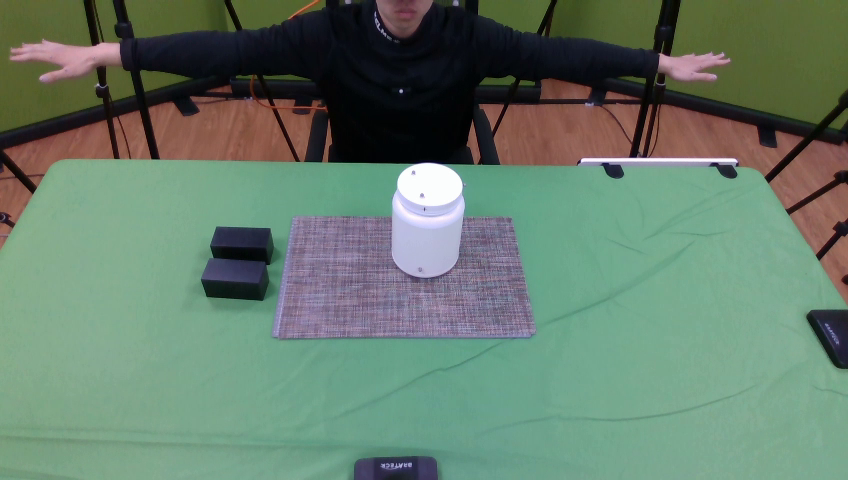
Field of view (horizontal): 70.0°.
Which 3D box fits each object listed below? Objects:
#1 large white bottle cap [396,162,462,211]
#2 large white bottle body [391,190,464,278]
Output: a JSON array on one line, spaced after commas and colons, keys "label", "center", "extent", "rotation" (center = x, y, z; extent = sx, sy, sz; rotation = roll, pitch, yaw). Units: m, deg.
[{"label": "large white bottle cap", "center": [0.009, -0.094, 1.053], "extent": [0.115, 0.018, 0.114], "rotation": [2, 46, -2]}, {"label": "large white bottle body", "center": [0.005, -0.034, 1.114], "extent": [0.131, 0.185, 0.130], "rotation": [2, 46, -2]}]
